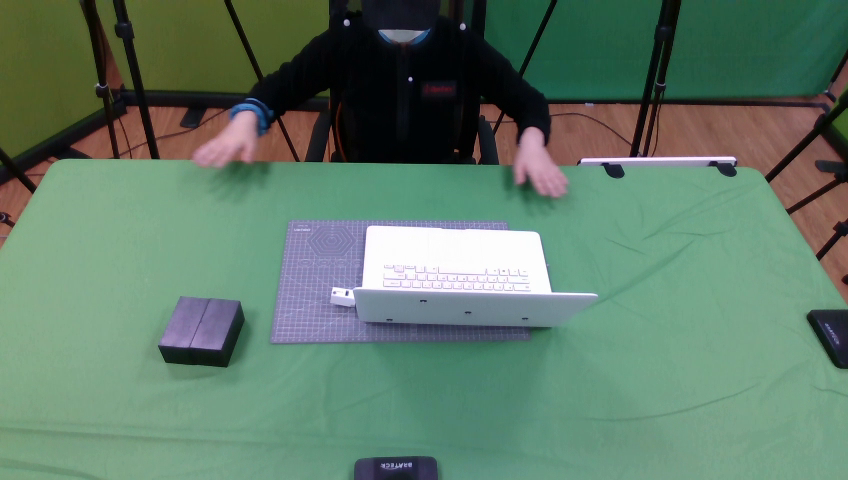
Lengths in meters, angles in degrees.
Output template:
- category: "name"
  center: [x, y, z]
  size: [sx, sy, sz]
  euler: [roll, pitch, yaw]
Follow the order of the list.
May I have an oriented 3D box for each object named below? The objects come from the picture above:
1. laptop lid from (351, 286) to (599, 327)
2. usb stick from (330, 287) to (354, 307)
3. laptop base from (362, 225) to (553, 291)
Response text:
- category: "laptop lid"
  center: [0.068, 0.109, 0.952]
  size: [0.357, 0.242, 0.013]
  euler: [2, 71, -4]
- category: "usb stick"
  center: [-0.135, 0.101, 1.068]
  size: [0.059, 0.027, 0.021]
  euler: [13, 43, -9]
- category: "laptop base"
  center: [0.061, 0.063, 1.145]
  size: [0.354, 0.023, 0.234]
  euler: [2, 43, -3]
